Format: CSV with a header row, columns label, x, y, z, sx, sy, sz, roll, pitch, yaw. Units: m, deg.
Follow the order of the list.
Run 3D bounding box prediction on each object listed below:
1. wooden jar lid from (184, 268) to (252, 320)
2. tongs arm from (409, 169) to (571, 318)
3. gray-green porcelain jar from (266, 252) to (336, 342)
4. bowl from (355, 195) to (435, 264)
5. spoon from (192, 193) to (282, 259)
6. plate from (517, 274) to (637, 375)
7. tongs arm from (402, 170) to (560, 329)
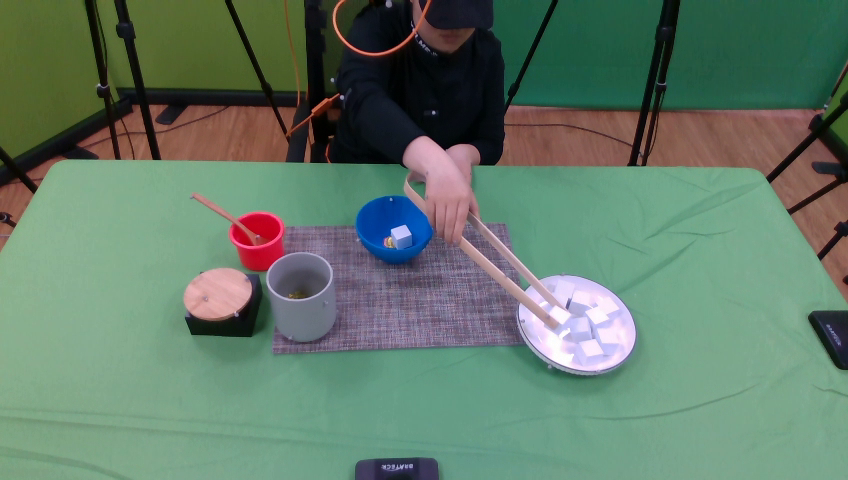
label,x,y,z,sx,sy,sz,roll,pitch,yaw
wooden jar lid,-0.343,0.092,1.015,0.108,0.021,0.107,3,46,-3
tongs arm,0.111,-0.002,1.074,0.028,0.028,0.386,-34,68,-29
gray-green porcelain jar,-0.202,0.100,1.009,0.106,0.127,0.105,2,46,-2
bowl,-0.056,-0.008,1.158,0.151,0.077,0.150,2,46,-2
spoon,-0.342,-0.027,1.115,0.194,0.021,0.041,43,40,-24
plate,0.264,0.149,1.060,0.209,0.038,0.208,3,46,-3
tongs arm,0.094,0.009,1.062,0.383,0.026,0.051,41,55,17
